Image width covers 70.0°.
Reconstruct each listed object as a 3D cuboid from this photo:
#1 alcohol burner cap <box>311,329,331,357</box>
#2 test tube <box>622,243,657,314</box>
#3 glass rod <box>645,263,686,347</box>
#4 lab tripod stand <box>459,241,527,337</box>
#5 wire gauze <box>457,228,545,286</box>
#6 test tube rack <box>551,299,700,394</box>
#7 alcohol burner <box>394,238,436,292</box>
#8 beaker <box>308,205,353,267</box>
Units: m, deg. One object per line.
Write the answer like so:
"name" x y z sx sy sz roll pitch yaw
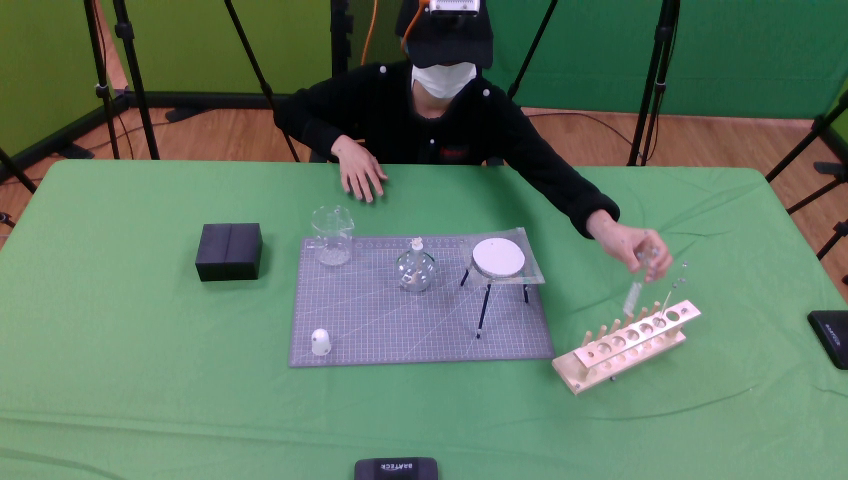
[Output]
"alcohol burner cap" -0.173 0.168 1.004 0.034 0.048 0.033 2 46 -2
"test tube" 0.327 0.062 0.924 0.017 0.151 0.017 1 44 -1
"glass rod" 0.392 0.110 0.986 0.008 0.201 0.008 2 42 -1
"lab tripod stand" 0.122 0.075 1.054 0.148 0.132 0.147 3 44 -3
"wire gauze" 0.126 0.029 1.006 0.125 0.011 0.120 -4 46 -10
"test tube rack" 0.339 0.166 1.020 0.242 0.085 0.066 -19 50 -21
"alcohol burner" -0.016 0.038 1.093 0.078 0.119 0.077 2 48 -2
"beaker" -0.171 -0.004 1.132 0.084 0.101 0.073 16 47 10
